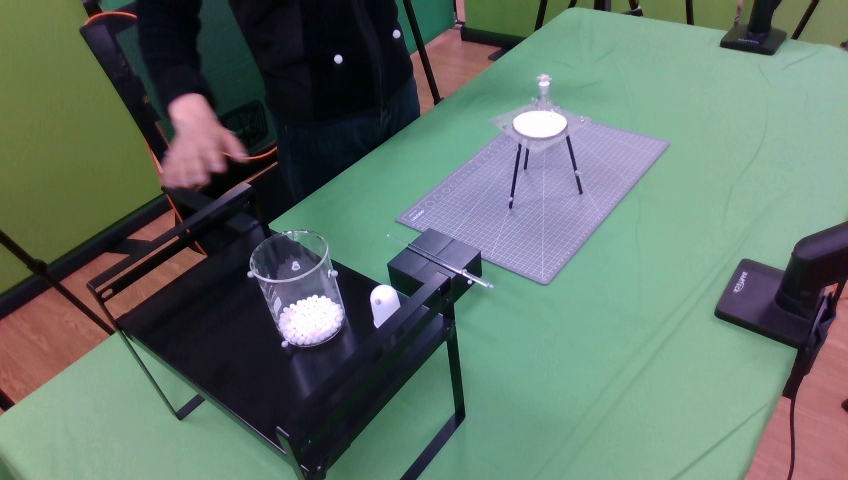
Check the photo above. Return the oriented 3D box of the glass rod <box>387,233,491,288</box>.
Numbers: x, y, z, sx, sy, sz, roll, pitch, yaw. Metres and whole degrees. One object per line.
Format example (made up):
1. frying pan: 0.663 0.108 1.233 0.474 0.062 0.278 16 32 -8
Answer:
1. glass rod: 0.017 0.027 0.877 0.198 0.008 0.008 26 51 34

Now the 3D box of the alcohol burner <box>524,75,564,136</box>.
1. alcohol burner: 0.232 -0.263 1.174 0.078 0.119 0.077 -6 39 5

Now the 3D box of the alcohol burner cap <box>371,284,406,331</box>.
1. alcohol burner cap: -0.037 0.066 0.608 0.034 0.048 0.033 -4 42 4

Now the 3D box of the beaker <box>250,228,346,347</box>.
1. beaker: -0.120 0.048 0.598 0.074 0.101 0.083 -9 40 -1

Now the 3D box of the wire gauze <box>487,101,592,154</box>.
1. wire gauze: 0.185 -0.188 0.974 0.122 0.011 0.124 -27 44 -23

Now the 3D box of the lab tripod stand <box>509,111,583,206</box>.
1. lab tripod stand: 0.197 -0.139 1.020 0.148 0.132 0.147 -3 39 3
